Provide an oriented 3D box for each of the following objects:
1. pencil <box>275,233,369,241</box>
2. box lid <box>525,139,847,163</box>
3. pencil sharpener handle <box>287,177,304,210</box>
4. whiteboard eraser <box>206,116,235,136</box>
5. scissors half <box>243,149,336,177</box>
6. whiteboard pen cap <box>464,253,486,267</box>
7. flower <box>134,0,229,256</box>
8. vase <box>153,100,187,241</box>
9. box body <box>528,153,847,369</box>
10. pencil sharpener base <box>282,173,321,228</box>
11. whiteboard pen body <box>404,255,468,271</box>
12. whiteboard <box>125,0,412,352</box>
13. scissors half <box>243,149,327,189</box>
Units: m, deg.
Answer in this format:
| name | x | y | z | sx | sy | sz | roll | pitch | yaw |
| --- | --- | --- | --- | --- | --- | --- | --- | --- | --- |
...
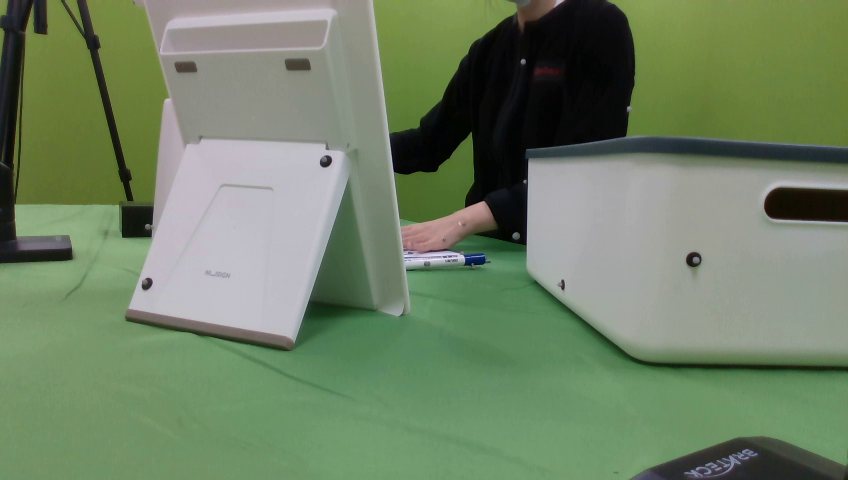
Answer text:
| name | x | y | z | sx | sy | sz | roll | pitch | yaw |
| --- | --- | --- | --- | --- | --- | --- | --- | --- | --- |
| pencil | -0.169 | -0.006 | 1.036 | 0.195 | 0.012 | 0.012 | -2 | 9 | -45 |
| box lid | 0.261 | -0.078 | 0.580 | 0.264 | 0.015 | 0.371 | 2 | 7 | -4 |
| pencil sharpener handle | -0.269 | -0.096 | 1.257 | 0.036 | 0.067 | 0.030 | -8 | 8 | -27 |
| whiteboard eraser | -0.450 | -0.252 | 1.335 | 0.056 | 0.042 | 0.112 | 1 | 7 | -22 |
| scissors half | -0.228 | -0.139 | 1.044 | 0.176 | 0.040 | 0.013 | 5 | 36 | -39 |
| whiteboard pen cap | 0.066 | 0.027 | 0.818 | 0.033 | 0.018 | 0.018 | -5 | 10 | -24 |
| flower | -0.282 | -0.146 | 0.713 | 0.038 | 0.362 | 0.044 | -23 | 24 | -31 |
| vase | -0.278 | -0.066 | 0.736 | 0.098 | 0.200 | 0.098 | 2 | 9 | 0 |
| box body | 0.258 | -0.005 | 0.591 | 0.254 | 0.160 | 0.363 | 2 | 7 | -4 |
| pencil sharpener base | -0.247 | -0.080 | 1.212 | 0.061 | 0.107 | 0.076 | -2 | 5 | -28 |
| whiteboard pen body | 0.013 | 0.030 | 0.792 | 0.141 | 0.017 | 0.017 | -3 | 9 | -24 |
| whiteboard | -0.151 | -0.049 | 0.472 | 0.216 | 0.305 | 0.144 | 6 | 27 | 24 |
| scissors half | -0.240 | -0.124 | 1.051 | 0.176 | 0.040 | 0.012 | 25 | 28 | -48 |
